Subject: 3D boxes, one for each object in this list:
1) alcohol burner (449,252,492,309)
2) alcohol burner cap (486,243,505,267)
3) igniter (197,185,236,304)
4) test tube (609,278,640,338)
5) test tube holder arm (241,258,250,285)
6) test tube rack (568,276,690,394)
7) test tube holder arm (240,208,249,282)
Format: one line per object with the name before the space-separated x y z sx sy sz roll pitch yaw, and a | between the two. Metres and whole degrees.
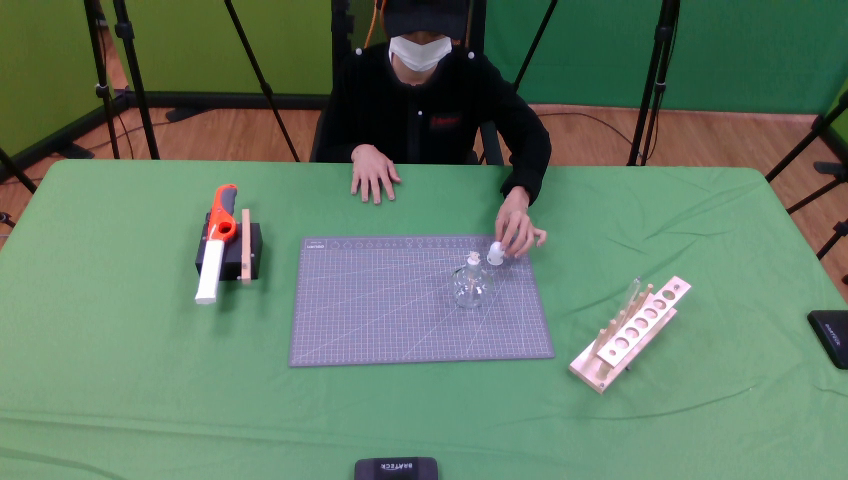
alcohol burner | 0.084 0.066 1.074 0.078 0.120 0.077 1 44 -1
alcohol burner cap | 0.136 0.026 1.143 0.034 0.048 0.033 3 52 -4
igniter | -0.376 -0.002 1.101 0.057 0.025 0.274 -1 49 -7
test tube | 0.331 0.115 1.007 0.017 0.151 0.017 2 45 -2
test tube holder arm | -0.316 0.042 1.071 0.015 0.010 0.087 -1 49 -15
test tube rack | 0.353 0.149 1.039 0.242 0.085 0.066 -34 56 -31
test tube holder arm | -0.323 0.006 1.096 0.015 0.013 0.177 -1 48 -15
